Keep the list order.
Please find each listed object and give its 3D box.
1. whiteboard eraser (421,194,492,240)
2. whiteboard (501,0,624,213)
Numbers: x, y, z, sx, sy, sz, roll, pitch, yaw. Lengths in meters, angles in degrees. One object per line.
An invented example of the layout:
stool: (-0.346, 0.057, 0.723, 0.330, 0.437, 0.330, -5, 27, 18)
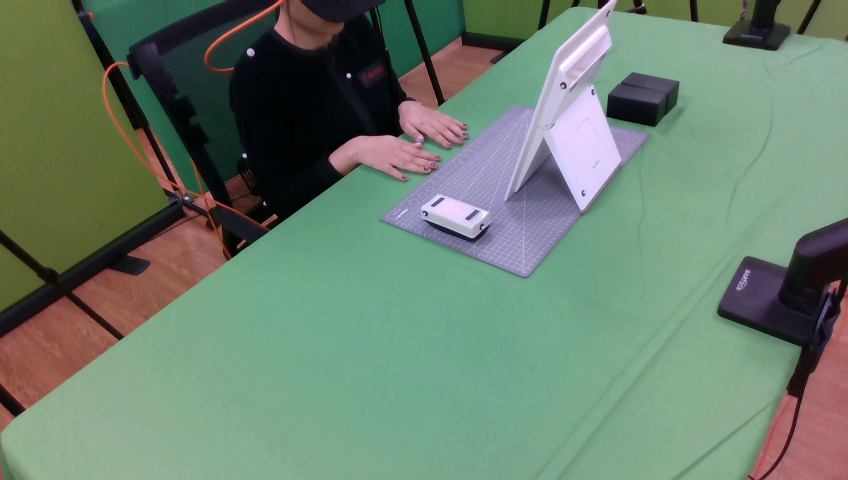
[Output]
whiteboard eraser: (0.052, -0.037, 0.996, 0.112, 0.042, 0.056, 23, 50, 32)
whiteboard: (0.271, -0.189, 0.977, 0.143, 0.306, 0.218, 34, 53, 16)
